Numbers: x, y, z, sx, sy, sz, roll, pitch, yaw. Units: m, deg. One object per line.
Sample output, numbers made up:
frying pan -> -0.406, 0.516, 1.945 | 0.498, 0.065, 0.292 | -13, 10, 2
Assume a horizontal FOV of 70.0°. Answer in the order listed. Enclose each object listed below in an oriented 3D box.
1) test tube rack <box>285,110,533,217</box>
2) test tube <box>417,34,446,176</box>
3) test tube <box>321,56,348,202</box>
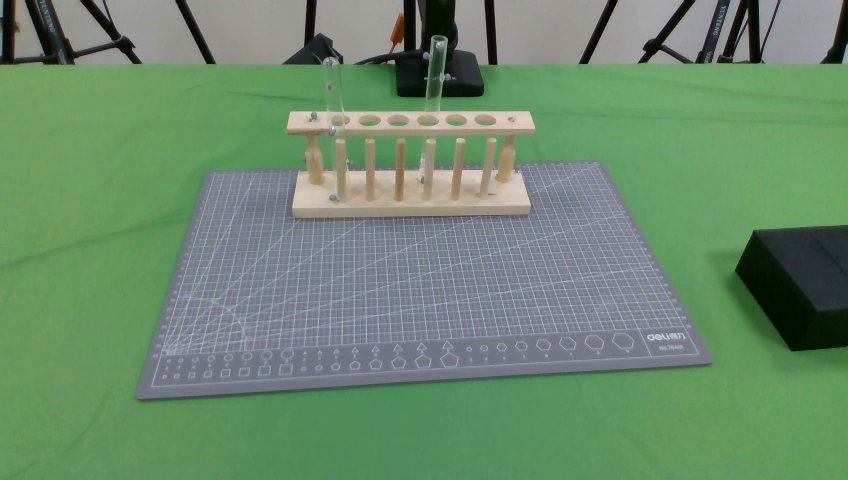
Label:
test tube rack -> -0.014, -0.078, 0.616 | 0.243, 0.086, 0.066 | -1, 41, -4
test tube -> 0.006, -0.128, 0.598 | 0.017, 0.151, 0.017 | 4, 39, -3
test tube -> -0.083, -0.100, 0.569 | 0.017, 0.152, 0.017 | 1, 40, -1
